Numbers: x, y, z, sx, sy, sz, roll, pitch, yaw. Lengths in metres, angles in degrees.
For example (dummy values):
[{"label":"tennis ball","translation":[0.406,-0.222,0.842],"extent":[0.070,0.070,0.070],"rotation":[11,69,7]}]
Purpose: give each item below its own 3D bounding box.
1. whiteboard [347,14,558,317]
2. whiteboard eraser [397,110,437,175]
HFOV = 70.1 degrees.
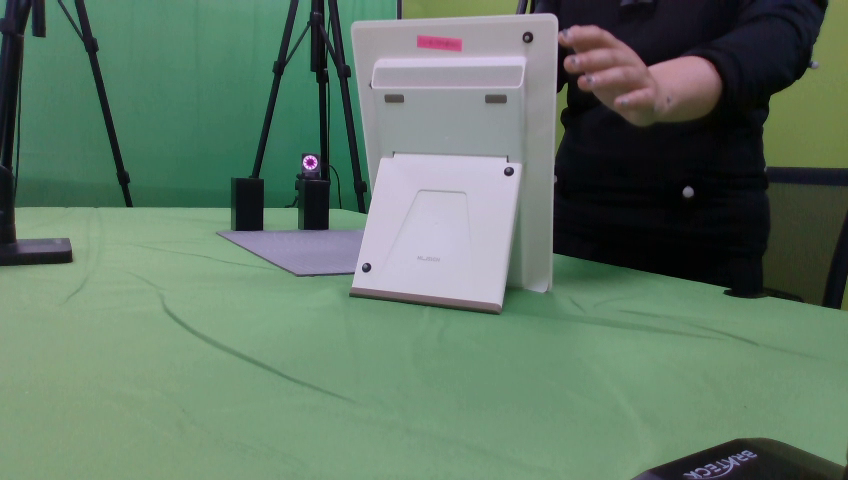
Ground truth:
[{"label":"whiteboard","translation":[0.012,-0.056,0.608],"extent":[0.216,0.305,0.144],"rotation":[5,27,20]},{"label":"whiteboard eraser","translation":[-0.008,-0.119,0.747],"extent":[0.041,0.019,0.101],"rotation":[4,-34,11]}]
